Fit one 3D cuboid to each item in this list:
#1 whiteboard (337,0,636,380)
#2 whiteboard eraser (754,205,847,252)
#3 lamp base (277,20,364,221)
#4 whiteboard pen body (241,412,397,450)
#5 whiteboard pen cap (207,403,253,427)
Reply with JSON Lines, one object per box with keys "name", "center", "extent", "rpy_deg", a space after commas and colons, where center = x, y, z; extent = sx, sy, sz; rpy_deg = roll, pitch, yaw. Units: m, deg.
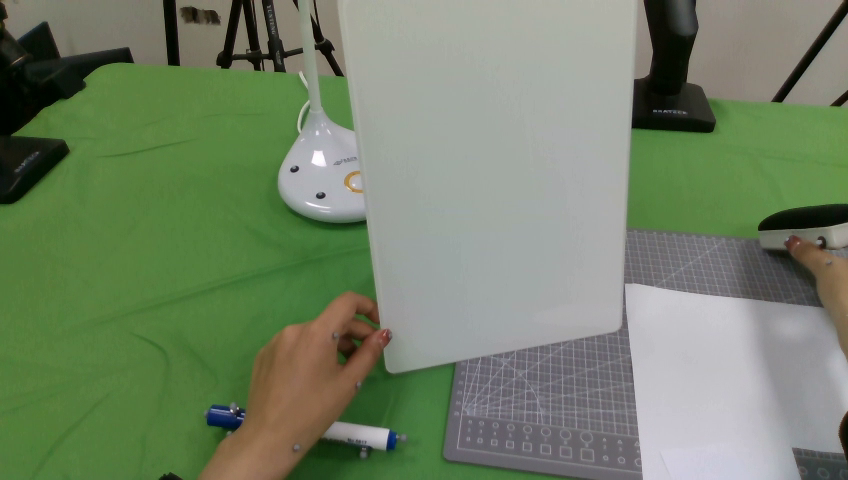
{"name": "whiteboard", "center": [0.048, -0.062, 0.534], "extent": [0.217, 0.307, 0.142], "rpy_deg": [-9, 23, -8]}
{"name": "whiteboard eraser", "center": [0.373, -0.011, 0.580], "extent": [0.055, 0.042, 0.112], "rpy_deg": [-9, 0, -2]}
{"name": "lamp base", "center": [-0.101, -0.139, 0.673], "extent": [0.161, 0.182, 0.177], "rpy_deg": [-29, 46, -29]}
{"name": "whiteboard pen body", "center": [-0.091, 0.145, 0.464], "extent": [0.140, 0.017, 0.017], "rpy_deg": [6, 41, 4]}
{"name": "whiteboard pen cap", "center": [-0.149, 0.137, 0.470], "extent": [0.033, 0.018, 0.018], "rpy_deg": [6, 41, 4]}
